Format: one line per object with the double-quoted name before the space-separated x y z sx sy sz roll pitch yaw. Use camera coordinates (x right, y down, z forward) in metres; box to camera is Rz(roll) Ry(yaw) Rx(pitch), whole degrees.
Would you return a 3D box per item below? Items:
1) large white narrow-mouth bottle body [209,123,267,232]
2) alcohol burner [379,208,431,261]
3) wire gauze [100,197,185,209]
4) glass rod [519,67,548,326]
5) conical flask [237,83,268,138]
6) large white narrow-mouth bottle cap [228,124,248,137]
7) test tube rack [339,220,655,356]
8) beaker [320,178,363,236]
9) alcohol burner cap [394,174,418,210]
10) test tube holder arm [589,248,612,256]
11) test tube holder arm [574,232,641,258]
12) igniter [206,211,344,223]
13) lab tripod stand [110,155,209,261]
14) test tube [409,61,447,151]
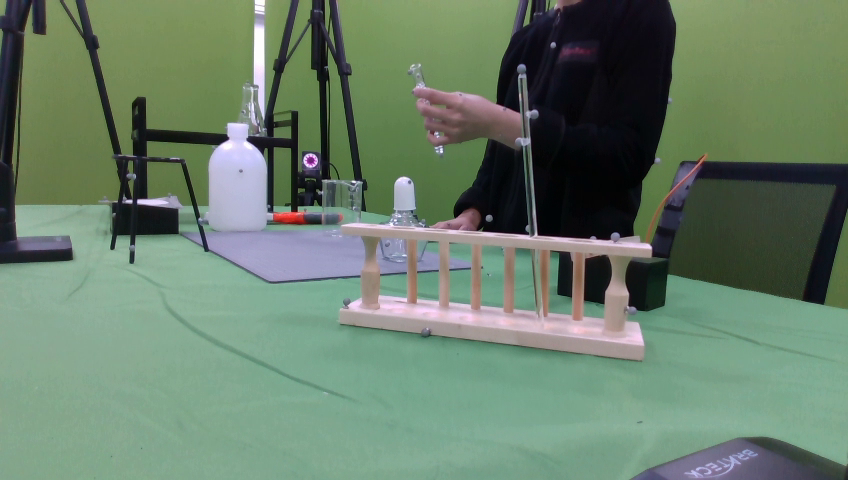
"large white narrow-mouth bottle body" -0.340 -0.115 1.109 0.102 0.194 0.102 2 8 0
"alcohol burner" -0.027 -0.031 0.838 0.078 0.119 0.078 0 6 0
"wire gauze" -0.469 -0.062 1.008 0.126 0.011 0.121 -2 8 -25
"glass rod" 0.084 -0.029 0.459 0.008 0.199 0.008 -7 11 2
"conical flask" -0.402 -0.299 1.406 0.075 0.122 0.075 2 7 0
"large white narrow-mouth bottle cap" -0.338 -0.198 1.097 0.038 0.024 0.037 2 8 0
"test tube rack" 0.056 0.032 0.495 0.242 0.085 0.067 4 7 15
"beaker" -0.145 -0.059 1.079 0.074 0.100 0.083 -4 10 -36
"alcohol burner cap" -0.026 -0.067 0.834 0.034 0.048 0.034 -1 12 1
"test tube holder arm" 0.180 0.006 0.611 0.010 0.015 0.088 -3 2 36
"test tube holder arm" 0.202 0.003 0.651 0.013 0.015 0.179 -3 2 36
"igniter" -0.302 -0.048 1.249 0.278 0.025 0.057 -2 -2 -26
"lab tripod stand" -0.361 -0.046 0.806 0.148 0.131 0.148 2 5 0
"test tube" 0.008 -0.199 0.913 0.017 0.150 0.017 -14 36 11
